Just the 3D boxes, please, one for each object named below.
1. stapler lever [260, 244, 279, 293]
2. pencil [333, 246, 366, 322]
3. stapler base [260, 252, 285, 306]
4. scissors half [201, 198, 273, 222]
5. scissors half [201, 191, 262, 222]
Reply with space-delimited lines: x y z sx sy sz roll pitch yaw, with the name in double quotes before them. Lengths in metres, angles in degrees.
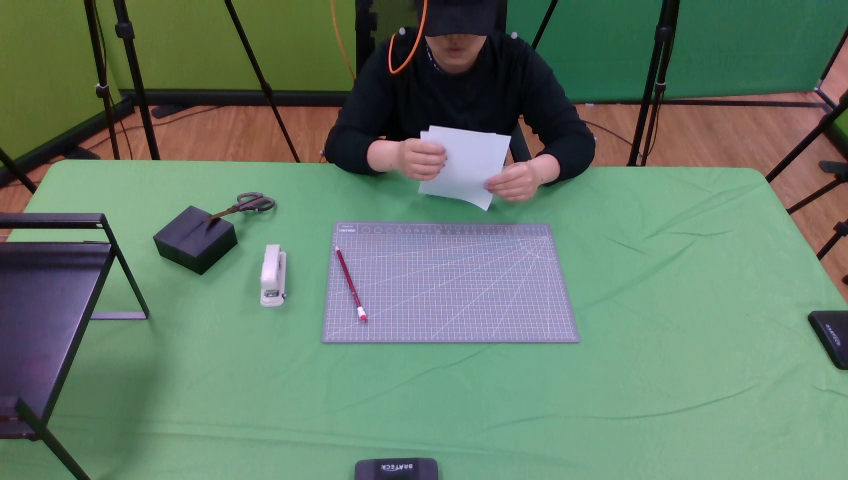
"stapler lever" -0.279 0.045 1.096 0.027 0.040 0.117 -2 44 -9
"pencil" -0.140 0.077 1.116 0.012 0.012 0.192 -14 48 -17
"stapler base" -0.279 0.064 1.113 0.041 0.024 0.129 -2 44 -9
"scissors half" -0.365 -0.056 1.192 0.040 0.013 0.175 38 32 23
"scissors half" -0.381 -0.066 1.198 0.040 0.013 0.175 24 28 10
